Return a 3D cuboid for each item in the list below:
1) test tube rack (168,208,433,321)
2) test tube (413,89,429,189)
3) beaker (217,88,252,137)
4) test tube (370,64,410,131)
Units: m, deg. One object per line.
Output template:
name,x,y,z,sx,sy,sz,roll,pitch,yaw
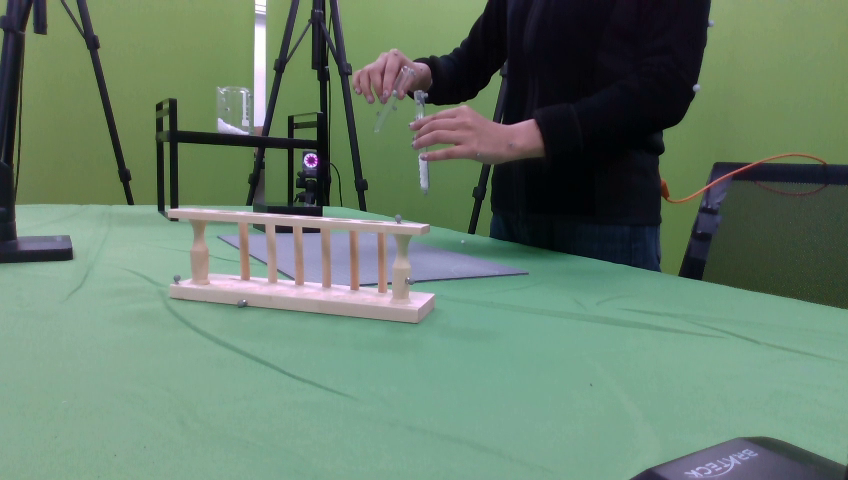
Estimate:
test tube rack,-0.115,0.017,0.574,0.242,0.085,0.067,4,8,13
test tube,-0.005,-0.151,0.902,0.017,0.150,0.017,-3,-3,0
beaker,-0.412,-0.276,1.310,0.074,0.100,0.084,4,8,16
test tube,-0.056,-0.225,0.971,0.017,0.017,0.150,-2,-28,-28
